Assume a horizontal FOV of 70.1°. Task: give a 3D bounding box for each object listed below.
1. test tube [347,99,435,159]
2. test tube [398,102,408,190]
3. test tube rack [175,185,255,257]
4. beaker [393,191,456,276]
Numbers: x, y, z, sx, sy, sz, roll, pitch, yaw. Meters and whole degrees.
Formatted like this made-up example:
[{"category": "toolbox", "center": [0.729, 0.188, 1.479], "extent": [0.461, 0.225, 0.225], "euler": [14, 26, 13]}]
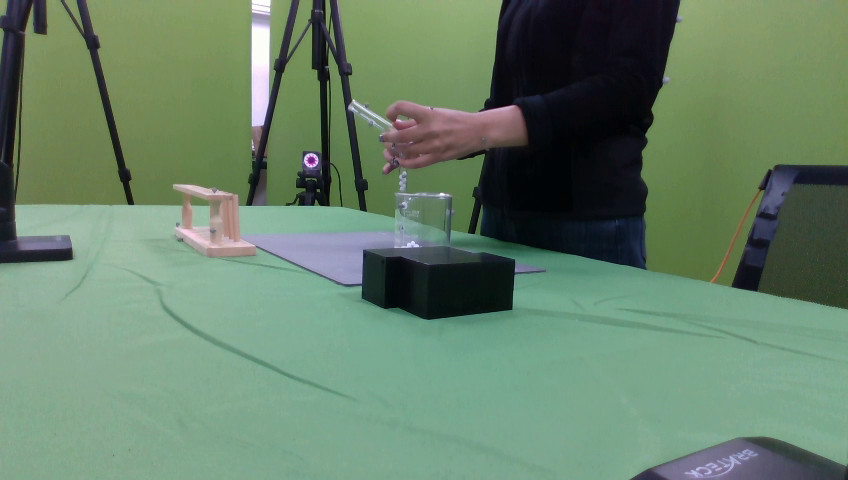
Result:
[{"category": "test tube", "center": [-0.046, -0.162, 0.893], "extent": [0.151, 0.017, 0.017], "euler": [30, -3, -21]}, {"category": "test tube", "center": [-0.035, -0.157, 1.022], "extent": [0.017, 0.150, 0.017], "euler": [1, 21, 0]}, {"category": "test tube rack", "center": [-0.324, -0.035, 0.922], "extent": [0.067, 0.085, 0.241], "euler": [-2, 9, -32]}, {"category": "beaker", "center": [-0.003, -0.010, 0.749], "extent": [0.074, 0.100, 0.083], "euler": [-3, 9, -40]}]
